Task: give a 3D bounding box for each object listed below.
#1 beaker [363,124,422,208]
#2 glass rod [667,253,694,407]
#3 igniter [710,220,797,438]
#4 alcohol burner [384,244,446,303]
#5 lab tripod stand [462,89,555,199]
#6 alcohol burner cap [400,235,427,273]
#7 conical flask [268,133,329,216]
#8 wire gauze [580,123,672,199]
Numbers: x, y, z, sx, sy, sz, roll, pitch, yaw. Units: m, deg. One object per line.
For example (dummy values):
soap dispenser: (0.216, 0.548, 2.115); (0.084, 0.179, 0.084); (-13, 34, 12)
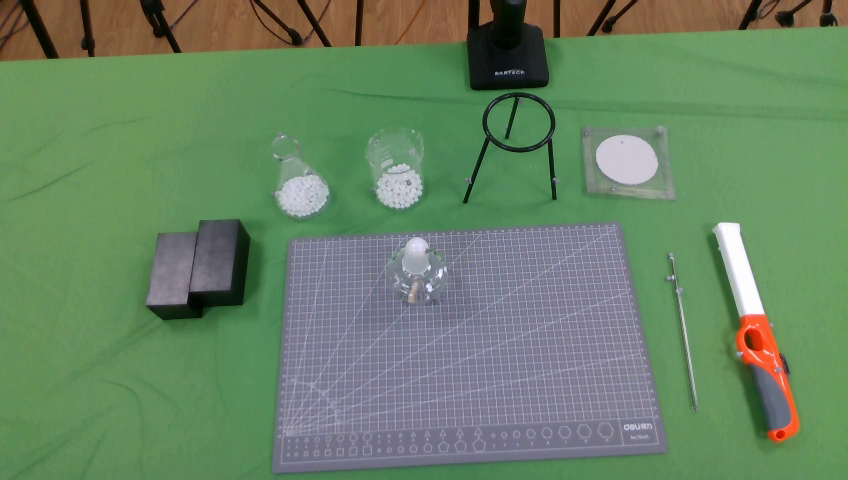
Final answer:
beaker: (-0.037, -0.096, 0.810); (0.084, 0.101, 0.073); (-41, 70, -17)
glass rod: (0.317, 0.106, 0.752); (0.008, 0.008, 0.198); (2, 64, 2)
igniter: (0.401, 0.100, 0.743); (0.057, 0.025, 0.274); (2, 64, -10)
alcohol burner: (-0.011, 0.031, 0.735); (0.078, 0.120, 0.077); (0, 63, 0)
lab tripod stand: (0.114, -0.119, 0.798); (0.148, 0.132, 0.147); (-1, 66, 2)
alcohol burner cap: (-0.011, 0.013, 0.704); (0.034, 0.048, 0.033); (3, 57, -5)
conical flask: (-0.171, -0.089, 0.796); (0.075, 0.123, 0.074); (0, 64, 1)
wire gauze: (0.287, -0.117, 0.863); (0.125, 0.011, 0.120); (4, 65, 1)
